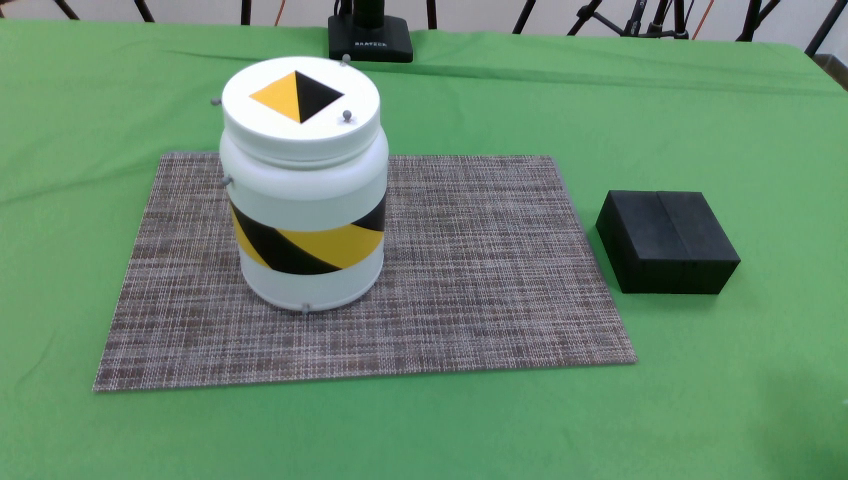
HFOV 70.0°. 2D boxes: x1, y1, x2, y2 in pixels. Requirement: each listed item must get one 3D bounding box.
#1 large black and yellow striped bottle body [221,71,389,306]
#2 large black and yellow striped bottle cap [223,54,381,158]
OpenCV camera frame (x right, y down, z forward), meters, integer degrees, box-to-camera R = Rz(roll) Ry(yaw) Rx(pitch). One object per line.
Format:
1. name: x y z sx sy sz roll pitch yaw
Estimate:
1. large black and yellow striped bottle body: -0.097 -0.046 0.514 0.131 0.185 0.129 4 45 -3
2. large black and yellow striped bottle cap: -0.089 -0.104 0.453 0.115 0.019 0.114 3 45 -3
